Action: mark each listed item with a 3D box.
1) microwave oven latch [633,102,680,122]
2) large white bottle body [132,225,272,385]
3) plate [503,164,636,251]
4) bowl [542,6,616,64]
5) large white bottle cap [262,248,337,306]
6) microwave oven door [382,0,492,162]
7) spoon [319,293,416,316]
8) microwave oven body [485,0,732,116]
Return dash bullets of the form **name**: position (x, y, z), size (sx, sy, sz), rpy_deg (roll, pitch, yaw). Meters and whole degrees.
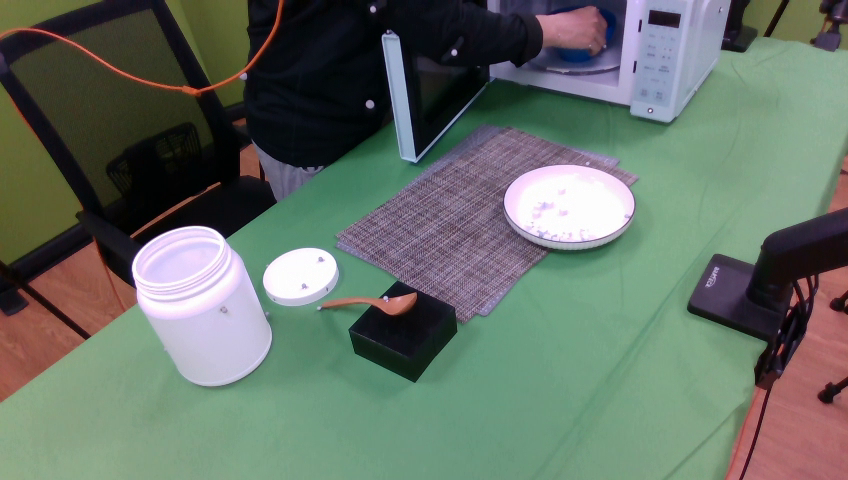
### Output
- **microwave oven latch**: position (0.443, -0.250, 1.157), size (0.078, 0.029, 0.030), rpy_deg (21, 49, 30)
- **large white bottle body**: position (-0.284, 0.084, 0.784), size (0.130, 0.185, 0.130), rpy_deg (-5, 41, 5)
- **plate**: position (0.232, -0.051, 0.976), size (0.209, 0.038, 0.208), rpy_deg (-3, 41, 3)
- **bowl**: position (0.323, -0.425, 1.276), size (0.151, 0.077, 0.150), rpy_deg (-4, 42, 4)
- **large white bottle cap**: position (-0.193, 0.056, 0.934), size (0.115, 0.018, 0.114), rpy_deg (-5, 41, 4)
- **microwave oven door**: position (0.039, -0.347, 1.173), size (0.039, 0.245, 0.356), rpy_deg (15, 45, 25)
- **spoon**: position (-0.082, 0.086, 0.826), size (0.192, 0.022, 0.041), rpy_deg (-3, 37, 41)
- **microwave oven body**: position (0.377, -0.463, 1.267), size (0.438, 0.261, 0.327), rpy_deg (21, 49, 30)
